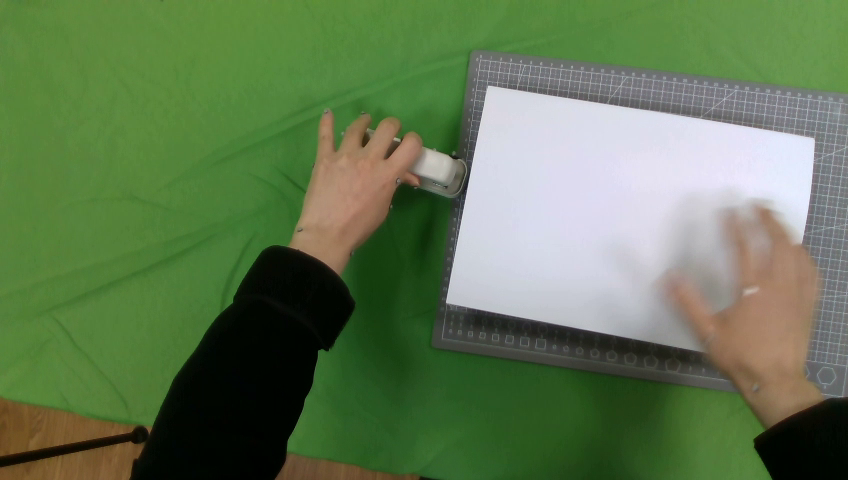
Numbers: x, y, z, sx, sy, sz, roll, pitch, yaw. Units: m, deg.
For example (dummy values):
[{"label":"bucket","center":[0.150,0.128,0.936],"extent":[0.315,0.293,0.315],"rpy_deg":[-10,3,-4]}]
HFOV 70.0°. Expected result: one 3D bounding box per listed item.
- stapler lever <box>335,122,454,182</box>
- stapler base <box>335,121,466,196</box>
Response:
[{"label":"stapler lever","center":[-0.029,-0.083,0.569],"extent":[0.118,0.040,0.027],"rpy_deg":[19,86,8]},{"label":"stapler base","center":[-0.025,-0.081,0.594],"extent":[0.130,0.024,0.041],"rpy_deg":[19,86,7]}]
